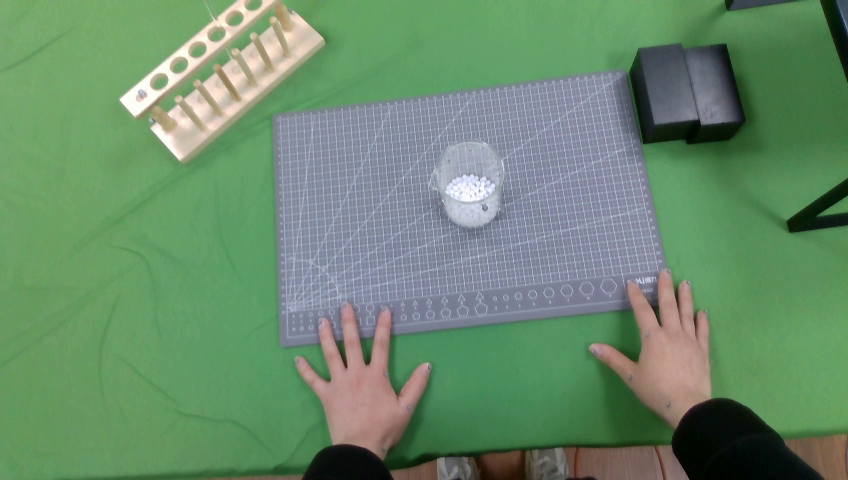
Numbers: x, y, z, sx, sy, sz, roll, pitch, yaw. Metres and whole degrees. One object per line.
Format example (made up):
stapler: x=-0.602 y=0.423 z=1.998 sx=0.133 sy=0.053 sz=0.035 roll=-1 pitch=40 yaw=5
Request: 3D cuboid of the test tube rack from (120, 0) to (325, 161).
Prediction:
test tube rack: x=-0.244 y=-0.215 z=0.757 sx=0.242 sy=0.086 sz=0.066 roll=-43 pitch=75 yaw=-8

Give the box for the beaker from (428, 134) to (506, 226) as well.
beaker: x=0.049 y=-0.061 z=0.681 sx=0.084 sy=0.101 sz=0.073 roll=-18 pitch=73 yaw=0

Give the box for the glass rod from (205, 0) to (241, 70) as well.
glass rod: x=-0.244 y=-0.267 z=0.703 sx=0.008 sy=0.201 sz=0.008 roll=0 pitch=65 yaw=1
